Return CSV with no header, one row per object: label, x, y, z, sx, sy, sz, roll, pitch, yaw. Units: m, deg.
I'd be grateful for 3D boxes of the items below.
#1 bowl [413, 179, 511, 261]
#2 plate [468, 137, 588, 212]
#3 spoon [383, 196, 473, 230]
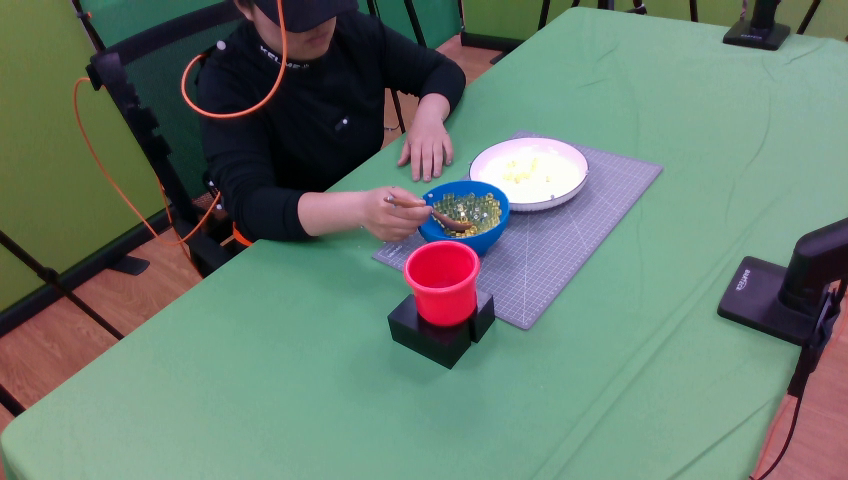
bowl,0.062,-0.021,0.948,0.151,0.077,0.150,-5,40,5
plate,0.182,-0.112,1.064,0.207,0.039,0.206,-5,40,5
spoon,0.008,-0.041,0.905,0.041,0.195,0.021,8,82,43
